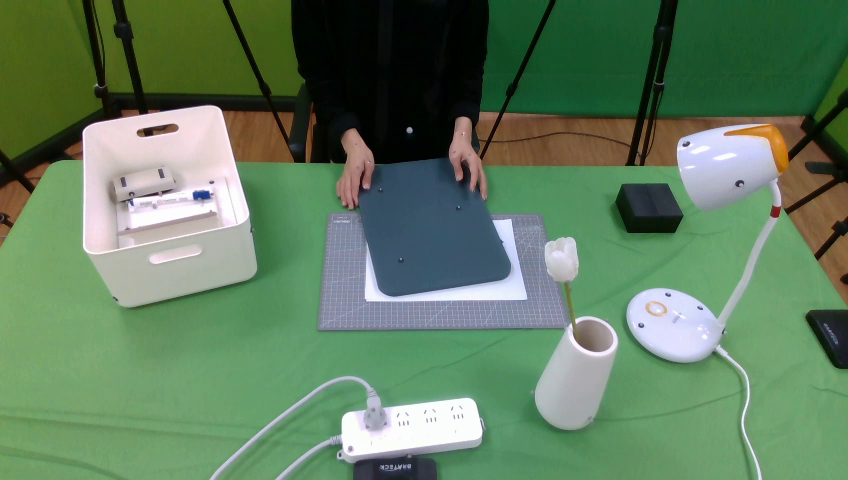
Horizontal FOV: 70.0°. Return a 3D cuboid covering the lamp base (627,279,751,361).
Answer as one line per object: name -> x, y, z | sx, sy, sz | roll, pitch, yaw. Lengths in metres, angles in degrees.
lamp base -> 0.460, 0.100, 1.027 | 0.178, 0.181, 0.160 | 27, 51, 17

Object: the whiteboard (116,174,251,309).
whiteboard -> -0.473, -0.055, 1.130 | 0.217, 0.144, 0.303 | -15, 50, -16

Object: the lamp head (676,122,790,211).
lamp head -> 0.423, -0.104, 0.819 | 0.122, 0.113, 0.112 | -13, 33, 40

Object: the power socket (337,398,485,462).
power socket -> -0.018, 0.285, 0.914 | 0.227, 0.033, 0.071 | -4, 46, -8

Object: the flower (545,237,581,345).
flower -> 0.213, 0.137, 0.846 | 0.038, 0.364, 0.044 | 21, 55, 40

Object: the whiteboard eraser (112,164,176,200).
whiteboard eraser -> -0.567, -0.116, 1.230 | 0.113, 0.042, 0.055 | -17, 57, -22

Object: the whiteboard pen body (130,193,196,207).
whiteboard pen body -> -0.498, -0.080, 1.187 | 0.141, 0.017, 0.017 | -7, 47, -16

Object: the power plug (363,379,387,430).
power plug -> -0.071, 0.252, 0.911 | 0.035, 0.053, 0.072 | 3, 40, 0

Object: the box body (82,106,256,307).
box body -> -0.471, -0.070, 1.131 | 0.254, 0.161, 0.361 | -14, 49, -17

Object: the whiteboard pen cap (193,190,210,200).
whiteboard pen cap -> -0.443, -0.089, 1.204 | 0.033, 0.018, 0.018 | -9, 48, -16

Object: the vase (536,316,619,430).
vase -> 0.229, 0.200, 0.901 | 0.098, 0.201, 0.097 | 3, 46, -3

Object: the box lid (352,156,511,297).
box lid -> 0.005, -0.042, 1.239 | 0.263, 0.015, 0.369 | -9, 48, -11
